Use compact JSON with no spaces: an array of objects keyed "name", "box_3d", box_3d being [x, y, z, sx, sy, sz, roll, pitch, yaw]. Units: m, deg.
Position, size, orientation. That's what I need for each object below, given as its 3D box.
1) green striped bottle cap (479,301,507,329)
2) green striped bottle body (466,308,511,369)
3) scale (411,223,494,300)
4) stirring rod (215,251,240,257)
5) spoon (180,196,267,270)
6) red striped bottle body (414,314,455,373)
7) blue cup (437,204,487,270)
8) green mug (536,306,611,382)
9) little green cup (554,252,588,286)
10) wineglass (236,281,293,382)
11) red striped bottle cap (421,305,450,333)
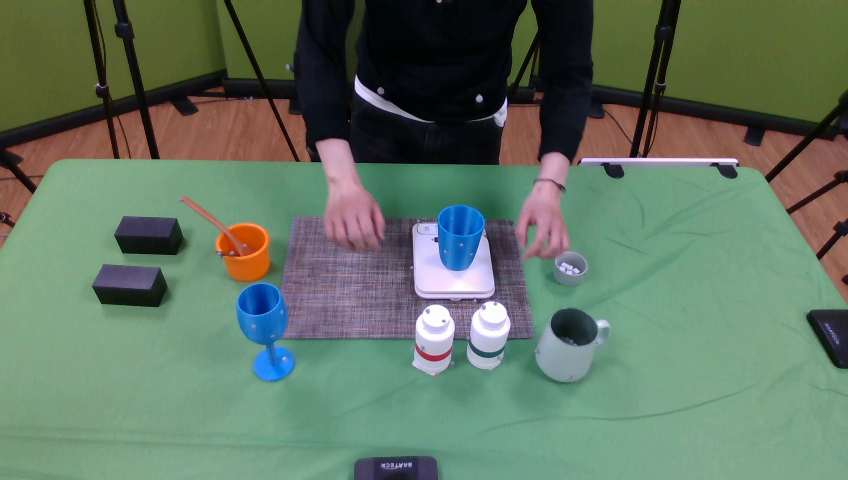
[{"name":"green striped bottle cap","box_3d":[0.109,0.118,0.950,0.044,0.020,0.044,2,46,-2]},{"name":"green striped bottle body","box_3d":[0.105,0.154,0.988,0.063,0.120,0.063,2,46,-2]},{"name":"scale","box_3d":[0.052,0.031,1.158,0.149,0.032,0.199,1,46,-4]},{"name":"stirring rod","box_3d":[-0.339,0.024,1.059,0.014,0.176,0.006,16,86,-6]},{"name":"spoon","box_3d":[-0.360,-0.014,1.094,0.021,0.194,0.041,-27,26,31]},{"name":"red striped bottle body","box_3d":[0.016,0.158,0.977,0.063,0.120,0.062,2,46,-2]},{"name":"blue cup","box_3d":[0.063,0.000,1.097,0.093,0.101,0.092,2,44,-2]},{"name":"green mug","box_3d":[0.250,0.167,0.996,0.125,0.105,0.092,-15,49,-19]},{"name":"little green cup","box_3d":[0.277,0.056,1.151,0.061,0.039,0.061,2,45,-1]},{"name":"wineglass","box_3d":[-0.242,0.143,0.934,0.074,0.173,0.073,2,46,-2]},{"name":"red striped bottle cap","box_3d":[0.018,0.122,0.939,0.044,0.018,0.044,2,46,-2]}]
